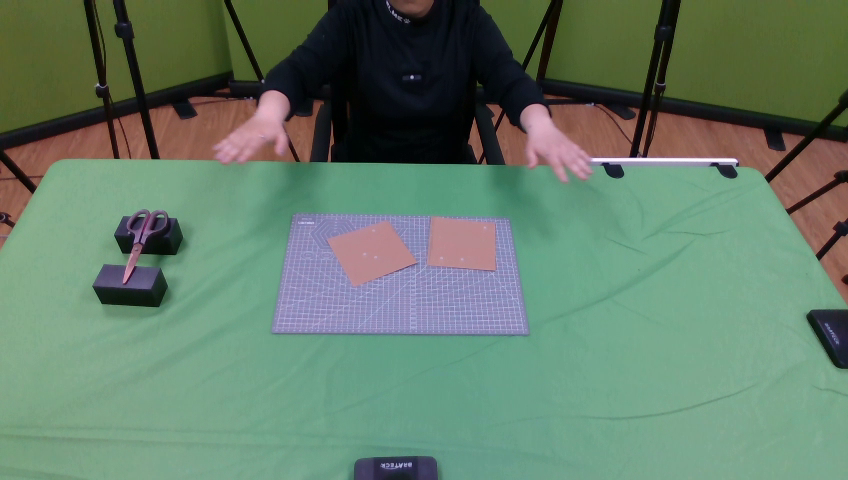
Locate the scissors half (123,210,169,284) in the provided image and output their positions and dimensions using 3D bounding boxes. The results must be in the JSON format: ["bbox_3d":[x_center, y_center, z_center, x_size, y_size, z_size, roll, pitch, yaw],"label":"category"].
[{"bbox_3d":[-0.501,0.010,1.088,0.040,0.013,0.174,8,48,1],"label":"scissors half"}]

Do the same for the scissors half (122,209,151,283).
[{"bbox_3d":[-0.521,0.009,1.085,0.040,0.013,0.174,0,48,-13],"label":"scissors half"}]

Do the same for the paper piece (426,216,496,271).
[{"bbox_3d":[0.075,0.006,1.204,0.138,0.009,0.135,6,49,1],"label":"paper piece"}]

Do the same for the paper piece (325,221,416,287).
[{"bbox_3d":[-0.105,0.022,1.174,0.135,0.004,0.135,-19,50,-21],"label":"paper piece"}]
